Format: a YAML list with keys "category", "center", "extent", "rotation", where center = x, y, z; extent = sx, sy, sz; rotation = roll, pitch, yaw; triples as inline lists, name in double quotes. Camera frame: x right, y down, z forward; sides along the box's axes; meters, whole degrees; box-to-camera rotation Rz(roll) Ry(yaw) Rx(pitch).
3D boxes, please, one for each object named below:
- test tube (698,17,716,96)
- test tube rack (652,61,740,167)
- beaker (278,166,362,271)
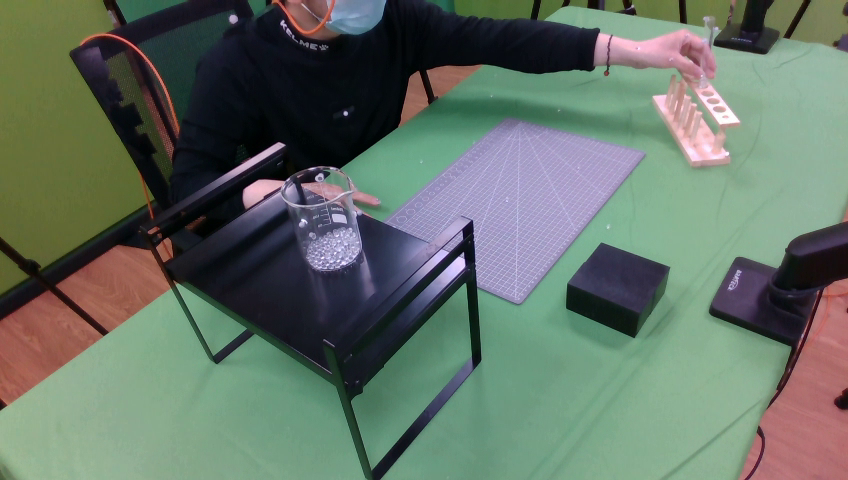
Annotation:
- category: "test tube"
  center: [0.506, -0.323, 1.085]
  extent: [0.017, 0.151, 0.017]
  rotation: [-7, 35, 5]
- category: "test tube rack"
  center: [0.499, -0.242, 1.130]
  extent: [0.067, 0.085, 0.241]
  rotation: [-4, 41, 3]
- category: "beaker"
  center: [-0.109, -0.022, 0.675]
  extent: [0.084, 0.101, 0.073]
  rotation: [-2, 41, 5]
